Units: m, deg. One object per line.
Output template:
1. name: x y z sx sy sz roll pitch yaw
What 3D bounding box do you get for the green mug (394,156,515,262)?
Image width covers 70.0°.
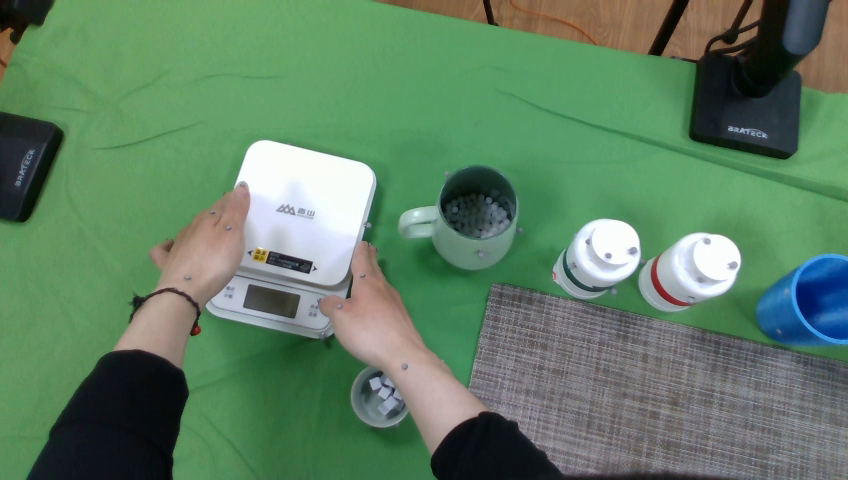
1. green mug: 0.032 -0.028 0.625 0.125 0.105 0.092 -8 76 -2

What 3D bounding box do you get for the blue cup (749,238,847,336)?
1. blue cup: 0.379 0.058 0.607 0.092 0.101 0.092 0 75 1

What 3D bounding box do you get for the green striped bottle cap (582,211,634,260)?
1. green striped bottle cap: 0.170 -0.004 0.558 0.044 0.020 0.044 0 76 -1

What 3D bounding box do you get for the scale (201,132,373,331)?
1. scale: -0.147 -0.012 0.657 0.148 0.032 0.200 13 76 3

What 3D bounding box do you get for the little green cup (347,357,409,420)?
1. little green cup: -0.044 0.149 0.612 0.061 0.039 0.061 0 77 1

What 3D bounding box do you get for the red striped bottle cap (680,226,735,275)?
1. red striped bottle cap: 0.261 0.009 0.555 0.044 0.018 0.044 0 78 1

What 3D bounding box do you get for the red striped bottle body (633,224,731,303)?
1. red striped bottle body: 0.260 0.023 0.606 0.063 0.120 0.062 0 75 -1

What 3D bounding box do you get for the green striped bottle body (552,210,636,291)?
1. green striped bottle body: 0.171 0.011 0.609 0.063 0.120 0.063 0 74 0
